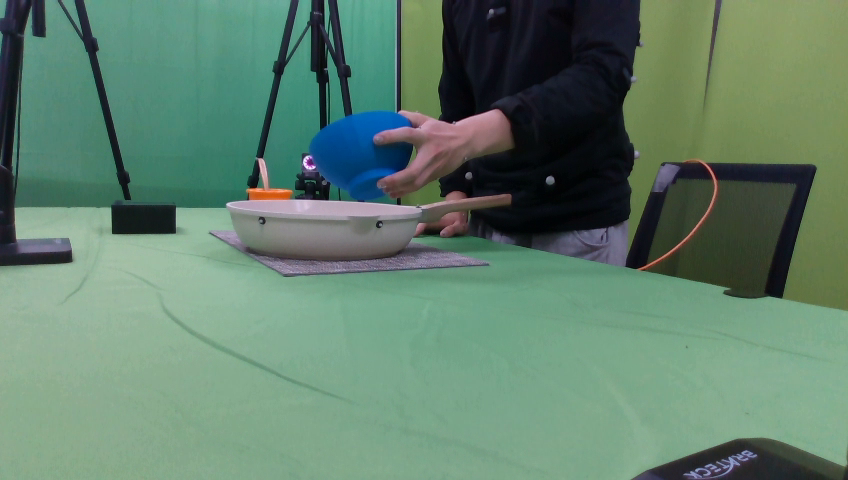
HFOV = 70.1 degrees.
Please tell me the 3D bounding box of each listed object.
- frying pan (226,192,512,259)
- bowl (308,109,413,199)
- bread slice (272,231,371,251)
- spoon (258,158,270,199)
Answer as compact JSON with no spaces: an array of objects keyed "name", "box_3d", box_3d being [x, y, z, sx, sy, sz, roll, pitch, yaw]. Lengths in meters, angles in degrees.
[{"name":"frying pan","box_3d":[-0.058,-0.041,0.975,0.490,0.102,0.305,-11,13,-26]},{"name":"bowl","box_3d":[-0.079,-0.107,0.841,0.151,0.076,0.151,-16,-16,-4]},{"name":"bread slice","box_3d":[-0.148,0.001,0.929,0.133,0.018,0.107,5,8,38]},{"name":"spoon","box_3d":[-0.332,-0.107,1.269,0.042,0.021,0.193,0,53,-23]}]
